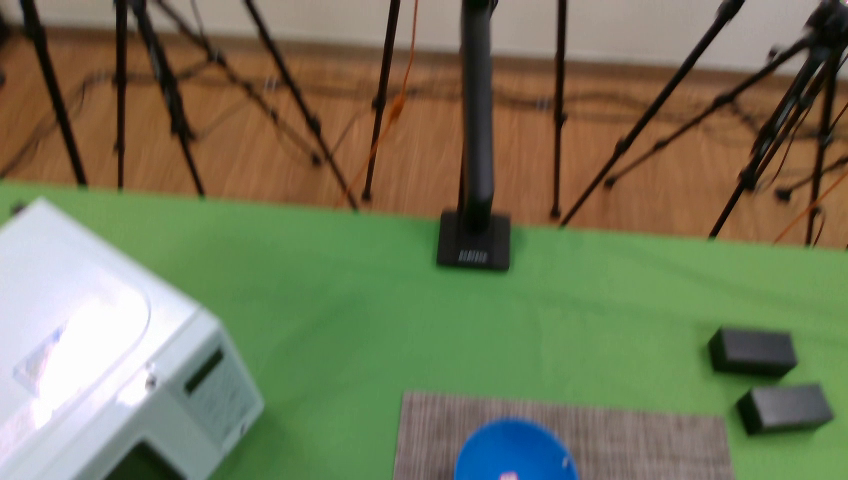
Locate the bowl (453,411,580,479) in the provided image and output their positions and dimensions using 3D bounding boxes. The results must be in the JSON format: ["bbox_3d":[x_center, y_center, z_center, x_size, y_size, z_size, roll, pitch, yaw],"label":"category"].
[{"bbox_3d":[0.109,0.299,0.755,0.151,0.077,0.150,0,54,0],"label":"bowl"}]

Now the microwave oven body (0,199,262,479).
[{"bbox_3d":[-0.466,0.227,0.685,0.324,0.262,0.440,28,60,17],"label":"microwave oven body"}]

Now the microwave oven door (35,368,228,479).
[{"bbox_3d":[-0.365,0.317,0.616,0.039,0.246,0.354,28,59,18],"label":"microwave oven door"}]

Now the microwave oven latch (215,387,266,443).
[{"bbox_3d":[-0.245,0.228,0.806,0.030,0.030,0.079,30,60,18],"label":"microwave oven latch"}]
